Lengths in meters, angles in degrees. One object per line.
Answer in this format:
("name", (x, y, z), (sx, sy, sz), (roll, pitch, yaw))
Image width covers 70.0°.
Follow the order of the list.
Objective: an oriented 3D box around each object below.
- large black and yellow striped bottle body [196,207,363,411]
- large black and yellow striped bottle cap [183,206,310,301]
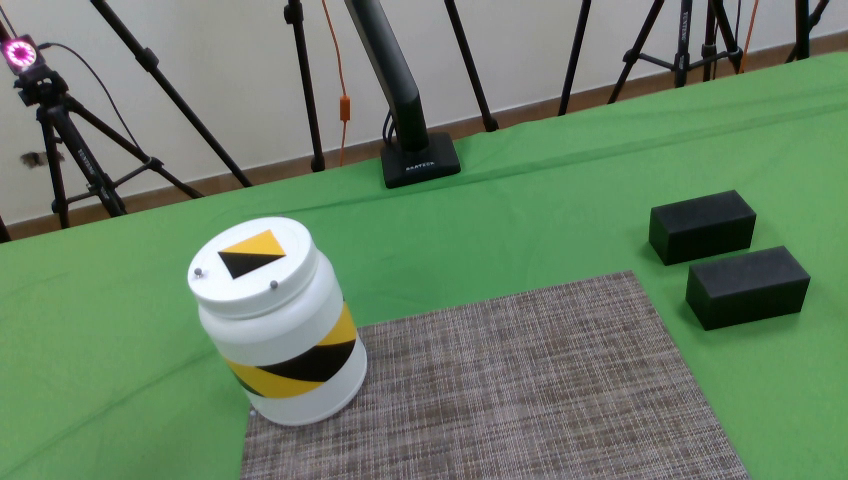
("large black and yellow striped bottle body", (-0.145, 0.070, 0.609), (0.130, 0.186, 0.129), (-8, 41, 7))
("large black and yellow striped bottle cap", (-0.162, 0.009, 0.554), (0.115, 0.019, 0.114), (-7, 40, 6))
